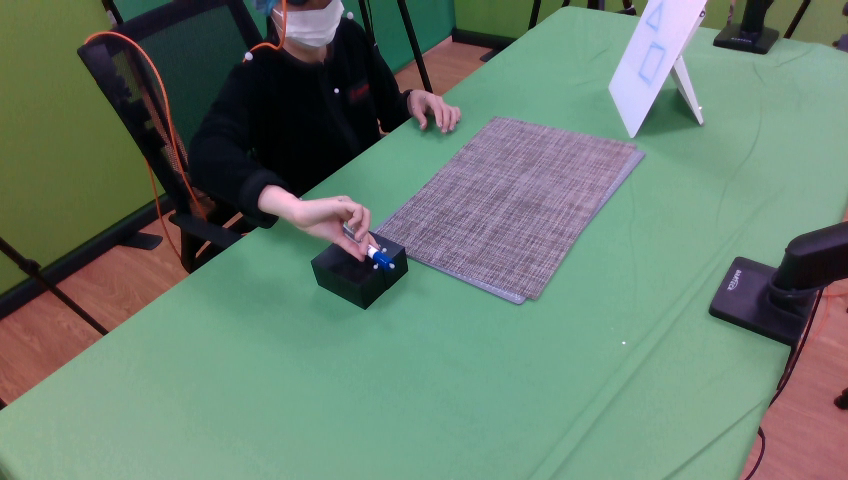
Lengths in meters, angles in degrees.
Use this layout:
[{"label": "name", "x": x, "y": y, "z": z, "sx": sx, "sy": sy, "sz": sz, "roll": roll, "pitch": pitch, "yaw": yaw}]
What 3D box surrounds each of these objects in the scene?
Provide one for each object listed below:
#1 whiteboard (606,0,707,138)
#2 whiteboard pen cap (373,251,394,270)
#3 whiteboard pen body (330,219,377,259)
[{"label": "whiteboard", "x": 0.496, "y": -0.359, "z": 1.147, "sx": 0.144, "sy": 0.305, "sz": 0.216, "roll": 11, "pitch": 40, "yaw": -7}, {"label": "whiteboard pen cap", "x": -0.059, "y": 0.029, "z": 0.864, "sx": 0.018, "sy": 0.018, "sz": 0.033, "roll": -32, "pitch": 44, "yaw": -27}, {"label": "whiteboard pen body", "x": -0.099, "y": 0.002, "z": 0.902, "sx": 0.017, "sy": 0.017, "sz": 0.139, "roll": -31, "pitch": 44, "yaw": -26}]
